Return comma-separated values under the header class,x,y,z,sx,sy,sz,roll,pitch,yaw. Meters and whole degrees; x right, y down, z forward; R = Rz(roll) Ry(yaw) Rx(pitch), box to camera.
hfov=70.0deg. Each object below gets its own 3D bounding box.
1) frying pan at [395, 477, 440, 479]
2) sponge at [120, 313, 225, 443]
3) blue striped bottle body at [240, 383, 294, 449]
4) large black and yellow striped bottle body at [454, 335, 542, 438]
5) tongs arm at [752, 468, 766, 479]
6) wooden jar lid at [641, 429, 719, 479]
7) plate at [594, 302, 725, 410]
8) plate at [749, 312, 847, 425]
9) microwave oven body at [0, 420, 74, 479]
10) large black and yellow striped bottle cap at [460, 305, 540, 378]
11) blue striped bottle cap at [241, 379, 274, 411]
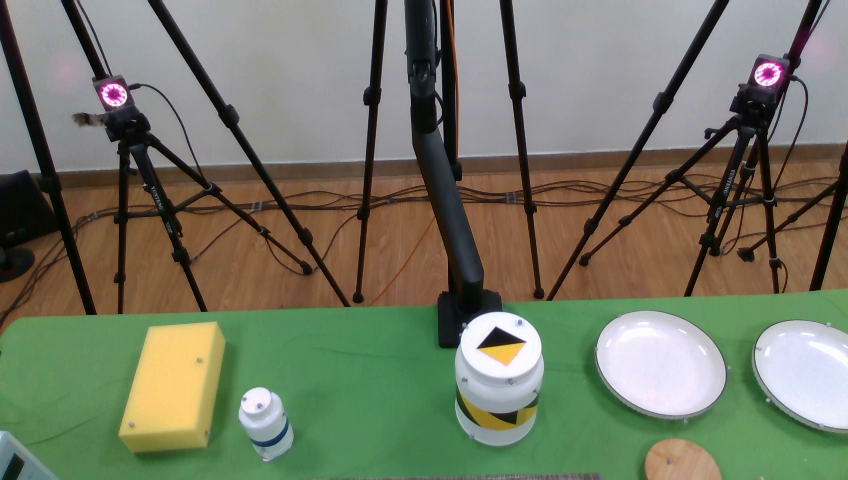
class,x,y,z,sx,sy,sz,roll,pitch,yaw
frying pan,-0.079,0.497,0.691,0.304,0.103,0.488,30,46,29
sponge,-0.410,0.224,1.004,0.118,0.061,0.204,-5,47,-3
blue striped bottle body,-0.240,0.261,0.919,0.063,0.122,0.062,-1,46,2
large black and yellow striped bottle body,0.110,0.201,0.919,0.131,0.186,0.129,-1,46,2
tongs arm,0.489,0.461,0.704,0.051,0.027,0.381,-5,58,-7
wooden jar lid,0.376,0.333,0.893,0.108,0.021,0.107,-1,47,2
plate,0.389,0.195,1.015,0.207,0.039,0.205,-1,46,2
plate,0.638,0.210,0.988,0.209,0.038,0.207,-1,46,2
microwave oven body,-0.644,0.450,0.651,0.326,0.262,0.437,-1,47,1
large black and yellow striped bottle cap,0.108,0.142,0.859,0.115,0.019,0.114,-1,47,2
blue striped bottle cap,-0.242,0.225,0.883,0.044,0.021,0.044,-1,48,2
